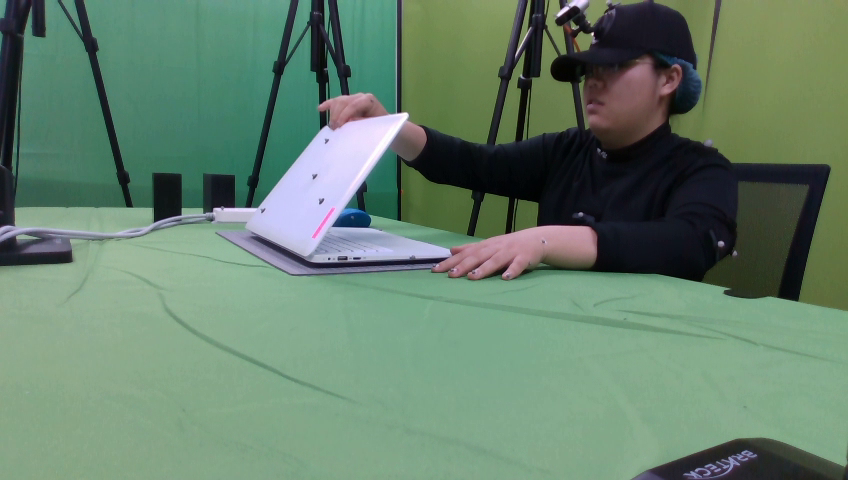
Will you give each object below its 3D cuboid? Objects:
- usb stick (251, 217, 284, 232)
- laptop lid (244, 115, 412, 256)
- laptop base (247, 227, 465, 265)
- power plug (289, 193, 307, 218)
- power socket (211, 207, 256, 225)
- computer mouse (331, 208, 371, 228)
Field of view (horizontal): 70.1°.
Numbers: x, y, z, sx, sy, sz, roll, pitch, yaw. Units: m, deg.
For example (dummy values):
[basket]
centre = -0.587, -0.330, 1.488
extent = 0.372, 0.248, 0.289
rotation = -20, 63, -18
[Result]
[usb stick]
centre = -0.290, -0.028, 1.119
extent = 0.059, 0.027, 0.021
rotation = -3, 12, -29
[laptop lid]
centre = -0.163, -0.094, 0.917
extent = 0.013, 0.241, 0.355
rotation = 42, -12, -27
[laptop base]
centre = -0.124, 0.007, 0.955
extent = 0.237, 0.023, 0.352
rotation = 2, 6, -30
[power plug]
centre = -0.280, -0.076, 1.340
extent = 0.035, 0.052, 0.072
rotation = 3, 5, -17
[power socket]
centre = -0.334, -0.051, 1.282
extent = 0.228, 0.032, 0.072
rotation = -2, 9, -28
[computer mouse]
centre = -0.174, -0.047, 1.292
extent = 0.118, 0.041, 0.062
rotation = -7, 13, -33
